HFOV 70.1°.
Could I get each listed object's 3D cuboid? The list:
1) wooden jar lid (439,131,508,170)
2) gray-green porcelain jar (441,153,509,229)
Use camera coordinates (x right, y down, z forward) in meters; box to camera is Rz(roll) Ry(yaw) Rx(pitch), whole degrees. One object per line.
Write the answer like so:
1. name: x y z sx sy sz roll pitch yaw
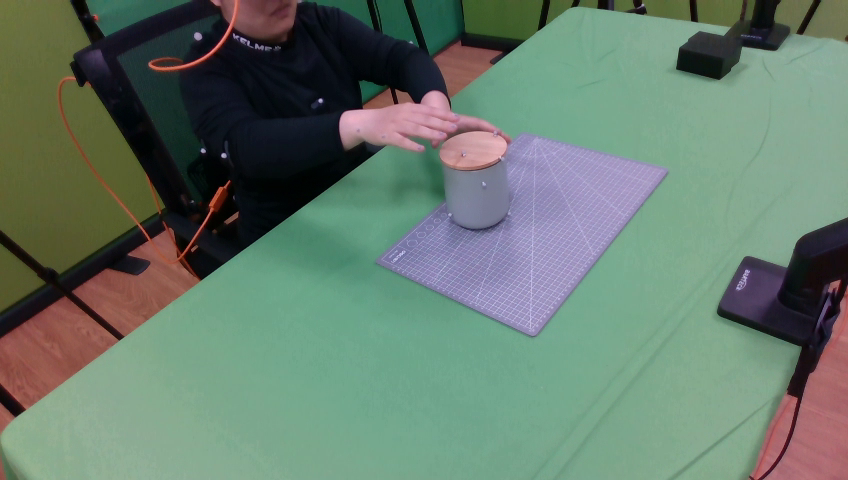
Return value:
1. wooden jar lid: 0.078 -0.136 0.948 0.108 0.021 0.108 -5 38 5
2. gray-green porcelain jar: 0.086 -0.090 0.988 0.106 0.127 0.105 -5 40 5
